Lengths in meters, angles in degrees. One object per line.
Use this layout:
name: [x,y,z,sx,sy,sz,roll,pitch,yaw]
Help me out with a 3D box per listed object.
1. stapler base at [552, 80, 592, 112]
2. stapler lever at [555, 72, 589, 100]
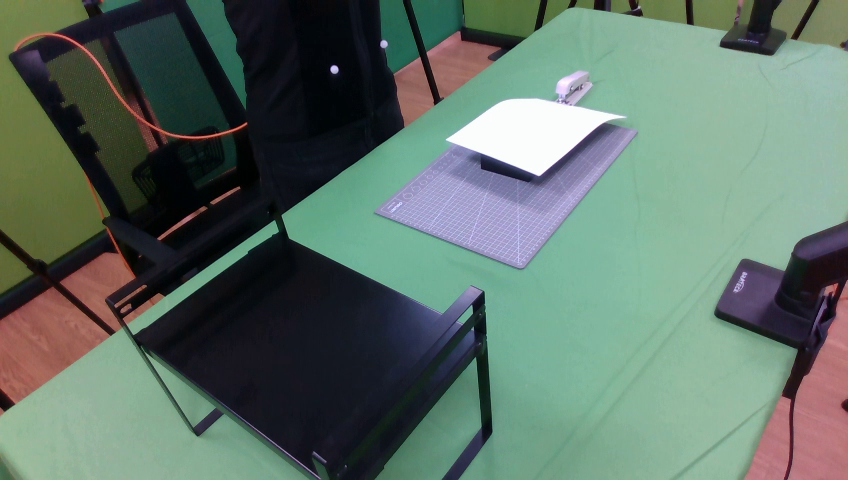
stapler base: [0.318,-0.316,1.298,0.041,0.024,0.131,20,46,30]
stapler lever: [0.315,-0.336,1.284,0.026,0.040,0.118,20,47,30]
